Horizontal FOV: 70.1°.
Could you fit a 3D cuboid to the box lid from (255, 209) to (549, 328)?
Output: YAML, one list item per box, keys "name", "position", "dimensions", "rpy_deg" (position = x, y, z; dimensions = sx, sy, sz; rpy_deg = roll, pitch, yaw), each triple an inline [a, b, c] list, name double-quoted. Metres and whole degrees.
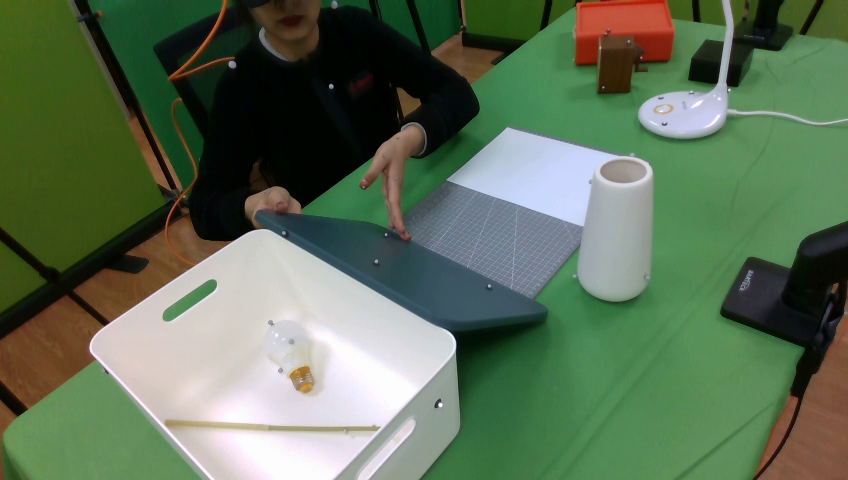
- name: "box lid"
  position: [-0.032, 0.032, 0.834]
  dimensions: [0.368, 0.015, 0.265]
  rpy_deg: [25, 12, 35]

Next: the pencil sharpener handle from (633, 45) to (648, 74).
- name: "pencil sharpener handle"
  position: [0.454, -0.378, 1.262]
  dimensions: [0.030, 0.068, 0.036]
  rpy_deg: [1, 47, 13]

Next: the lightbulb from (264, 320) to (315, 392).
- name: "lightbulb"
  position: [-0.174, 0.155, 0.806]
  dimensions: [0.060, 0.060, 0.107]
  rpy_deg: [-23, 58, -16]

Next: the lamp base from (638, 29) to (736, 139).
- name: "lamp base"
  position: [0.501, -0.302, 1.125]
  dimensions: [0.179, 0.181, 0.160]
  rpy_deg: [-4, 40, 3]

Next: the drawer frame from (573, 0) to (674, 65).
- name: "drawer frame"
  position: [0.464, -0.492, 1.434]
  dimensions: [0.213, 0.083, 0.201]
  rpy_deg: [1, 40, 12]

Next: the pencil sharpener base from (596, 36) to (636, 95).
- name: "pencil sharpener base"
  position: [0.406, -0.369, 1.280]
  dimensions: [0.076, 0.107, 0.061]
  rpy_deg: [1, 41, 13]

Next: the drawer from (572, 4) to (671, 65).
- name: "drawer"
  position: [0.461, -0.490, 1.434]
  dimensions: [0.211, 0.073, 0.194]
  rpy_deg: [2, 40, 12]

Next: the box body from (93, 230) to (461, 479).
- name: "box body"
  position: [-0.162, 0.170, 0.708]
  dimensions: [0.361, 0.161, 0.255]
  rpy_deg: [25, 50, 34]

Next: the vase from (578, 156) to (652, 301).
- name: "vase"
  position: [0.261, -0.011, 0.812]
  dimensions: [0.098, 0.201, 0.097]
  rpy_deg: [-4, 40, 4]

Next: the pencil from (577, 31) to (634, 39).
- name: "pencil"
  position: [0.431, -0.489, 1.443]
  dimensions: [0.012, 0.012, 0.192]
  rpy_deg: [-25, 30, -18]

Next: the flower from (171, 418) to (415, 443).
- name: "flower"
  position: [-0.154, 0.228, 0.742]
  dimensions: [0.360, 0.038, 0.044]
  rpy_deg: [-2, 47, 15]
